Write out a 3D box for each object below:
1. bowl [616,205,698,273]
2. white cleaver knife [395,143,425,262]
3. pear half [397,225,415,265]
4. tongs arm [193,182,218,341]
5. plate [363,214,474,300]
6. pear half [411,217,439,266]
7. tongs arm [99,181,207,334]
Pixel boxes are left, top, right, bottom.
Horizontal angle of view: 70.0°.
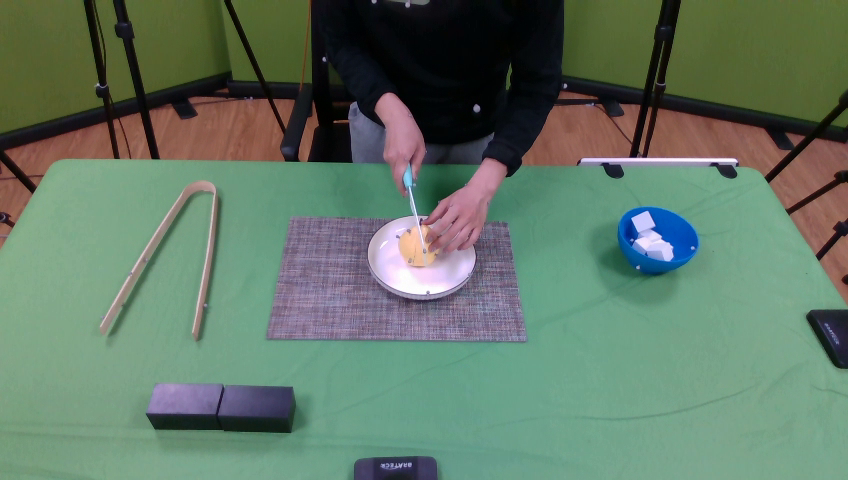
[{"bbox_3d":[0.442,0.010,1.181,0.151,0.077,0.150,2,46,-2],"label":"bowl"},{"bbox_3d":[-0.026,-0.072,1.097,0.021,0.066,0.284,-8,49,-4],"label":"white cleaver knife"},{"bbox_3d":[-0.035,0.007,1.124,0.031,0.088,0.070,-6,50,-10],"label":"pear half"},{"bbox_3d":[-0.413,0.025,1.140,0.028,0.028,0.385,-5,47,-7],"label":"tongs arm"},{"bbox_3d":[-0.010,0.036,1.147,0.208,0.039,0.206,2,46,-2],"label":"plate"},{"bbox_3d":[0.002,-0.003,1.122,0.056,0.110,0.076,-6,51,-11],"label":"pear half"},{"bbox_3d":[-0.494,0.018,1.132,0.051,0.026,0.382,7,45,0],"label":"tongs arm"}]
